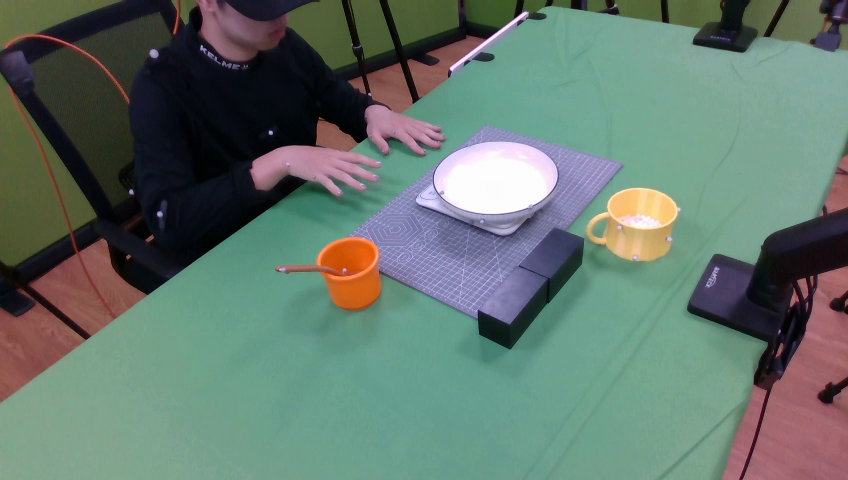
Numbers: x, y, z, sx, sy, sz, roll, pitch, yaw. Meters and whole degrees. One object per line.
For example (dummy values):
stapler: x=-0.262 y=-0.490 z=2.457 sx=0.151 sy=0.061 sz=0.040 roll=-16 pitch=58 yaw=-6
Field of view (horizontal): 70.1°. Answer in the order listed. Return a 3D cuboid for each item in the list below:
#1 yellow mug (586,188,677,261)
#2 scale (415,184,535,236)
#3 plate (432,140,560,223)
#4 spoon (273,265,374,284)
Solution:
yellow mug: x=0.311 y=-0.022 z=0.916 sx=0.131 sy=0.064 sz=0.099 roll=-8 pitch=40 yaw=0
scale: x=0.099 y=-0.080 z=1.035 sx=0.199 sy=0.032 sz=0.149 roll=23 pitch=48 yaw=31
plate: x=0.118 y=-0.094 z=0.999 sx=0.209 sy=0.038 sz=0.208 roll=-5 pitch=41 yaw=4
spoon: x=-0.137 y=0.045 z=0.839 sx=0.041 sy=0.195 sz=0.021 roll=18 pitch=91 yaw=33
